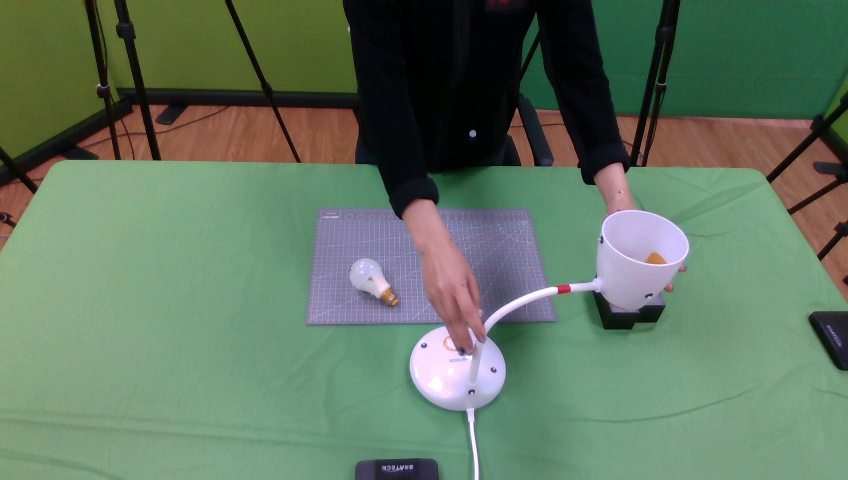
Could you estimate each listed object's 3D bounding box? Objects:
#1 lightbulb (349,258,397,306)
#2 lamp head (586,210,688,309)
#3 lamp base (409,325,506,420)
[{"bbox_3d":[-0.090,0.078,1.095,0.107,0.060,0.059,43,56,12],"label":"lightbulb"},{"bbox_3d":[0.282,0.037,0.828,0.112,0.123,0.111,6,40,-5],"label":"lamp head"},{"bbox_3d":[0.064,0.163,0.937,0.161,0.181,0.178,-11,51,-15],"label":"lamp base"}]
